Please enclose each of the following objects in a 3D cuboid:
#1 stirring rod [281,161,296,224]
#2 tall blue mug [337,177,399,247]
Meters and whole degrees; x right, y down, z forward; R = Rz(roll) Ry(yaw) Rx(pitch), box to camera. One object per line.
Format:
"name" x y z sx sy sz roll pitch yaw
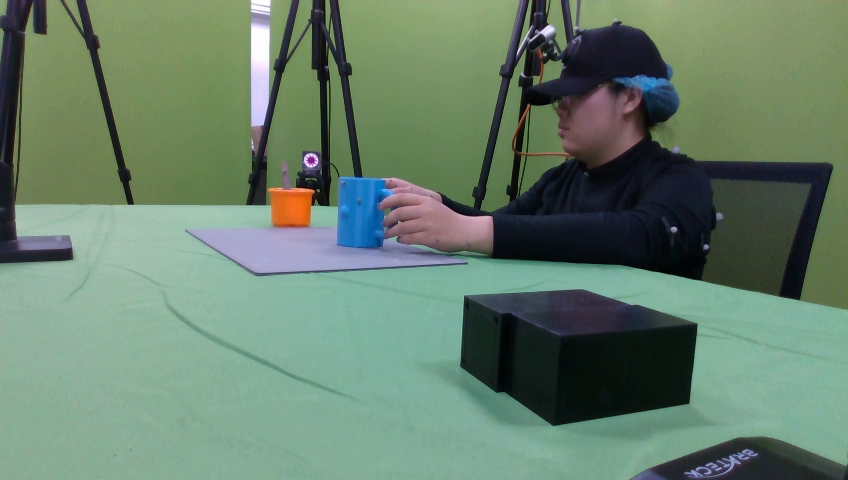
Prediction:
"stirring rod" -0.278 -0.099 1.238 0.014 0.006 0.175 3 49 -25
"tall blue mug" -0.086 -0.045 0.971 0.107 0.108 0.078 4 7 9
